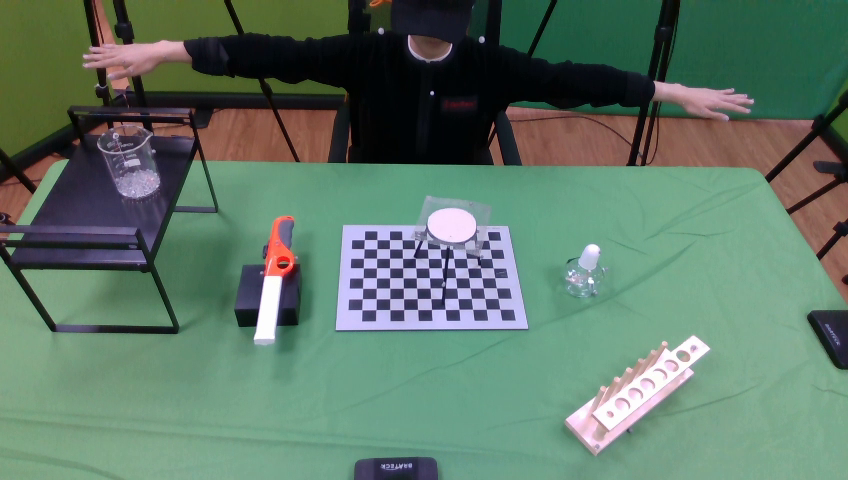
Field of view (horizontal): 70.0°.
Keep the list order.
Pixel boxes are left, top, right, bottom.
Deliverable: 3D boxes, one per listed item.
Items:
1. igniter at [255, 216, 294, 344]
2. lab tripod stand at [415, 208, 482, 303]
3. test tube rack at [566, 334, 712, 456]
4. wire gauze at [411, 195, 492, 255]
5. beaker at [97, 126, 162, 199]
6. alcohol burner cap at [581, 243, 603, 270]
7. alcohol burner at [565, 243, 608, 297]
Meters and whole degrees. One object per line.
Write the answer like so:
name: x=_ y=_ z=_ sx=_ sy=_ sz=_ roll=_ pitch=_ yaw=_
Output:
igniter: x=-0.258 y=0.059 z=1.051 sx=0.057 sy=0.025 sz=0.274 roll=2 pitch=47 yaw=-6
lab tripod stand: x=0.043 y=0.018 z=1.097 sx=0.148 sy=0.132 sz=0.147 roll=1 pitch=46 yaw=0
test tube rack: x=0.339 y=0.228 z=0.950 sx=0.242 sy=0.085 sz=0.066 roll=-26 pitch=52 yaw=-26
wire gauze: x=0.049 y=-0.031 z=1.051 sx=0.125 sy=0.011 sz=0.121 roll=12 pitch=47 yaw=9
beaker: x=-0.468 y=-0.124 z=0.979 sx=0.084 sy=0.101 sz=0.073 roll=-25 pitch=53 yaw=-26
alcohol burner cap: x=0.302 y=0.026 z=1.082 sx=0.034 sy=0.048 sz=0.033 roll=4 pitch=45 yaw=-4
alcohol burner: x=0.299 y=0.048 z=1.103 sx=0.078 sy=0.119 sz=0.077 roll=3 pitch=45 yaw=-3
